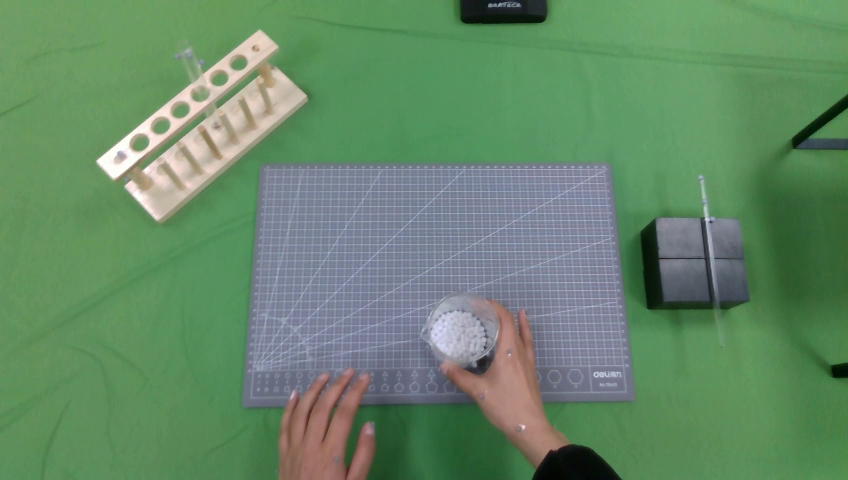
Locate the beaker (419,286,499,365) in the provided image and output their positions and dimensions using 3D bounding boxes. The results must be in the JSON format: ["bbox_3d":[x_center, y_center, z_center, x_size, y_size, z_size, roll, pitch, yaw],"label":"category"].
[{"bbox_3d":[0.035,0.100,0.668,0.084,0.101,0.073,-11,73,-4],"label":"beaker"}]

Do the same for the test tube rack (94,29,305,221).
[{"bbox_3d":[-0.263,-0.139,0.737,0.066,0.085,0.242,43,77,11],"label":"test tube rack"}]

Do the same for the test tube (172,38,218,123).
[{"bbox_3d":[-0.260,-0.179,0.697,0.017,0.151,0.017,2,69,-5],"label":"test tube"}]

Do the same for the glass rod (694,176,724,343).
[{"bbox_3d":[0.328,0.019,0.698,0.008,0.008,0.198,0,74,-2],"label":"glass rod"}]
